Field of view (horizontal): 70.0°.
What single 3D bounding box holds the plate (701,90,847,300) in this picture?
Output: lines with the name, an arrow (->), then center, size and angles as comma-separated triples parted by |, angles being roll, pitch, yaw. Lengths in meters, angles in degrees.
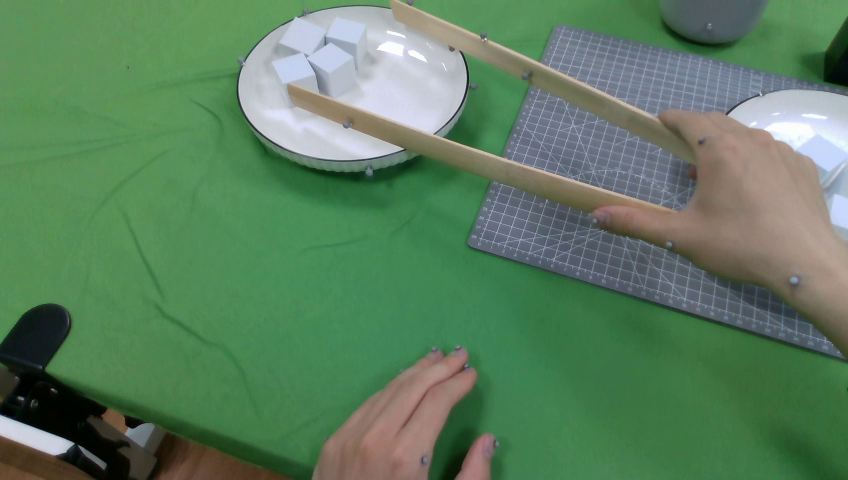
plate -> 0.328, -0.037, 0.493 | 0.209, 0.038, 0.207 | 0, 56, 0

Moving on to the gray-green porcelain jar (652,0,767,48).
gray-green porcelain jar -> 0.292, -0.265, 0.598 | 0.106, 0.127, 0.105 | 0, 55, 0

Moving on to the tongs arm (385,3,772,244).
tongs arm -> 0.091, -0.111, 0.486 | 0.381, 0.027, 0.050 | 34, 64, 28

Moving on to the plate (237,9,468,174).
plate -> -0.064, -0.137, 0.562 | 0.208, 0.039, 0.205 | 0, 56, 0

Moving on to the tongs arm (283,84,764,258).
tongs arm -> 0.044, -0.061, 0.457 | 0.385, 0.028, 0.028 | 22, 55, 23
